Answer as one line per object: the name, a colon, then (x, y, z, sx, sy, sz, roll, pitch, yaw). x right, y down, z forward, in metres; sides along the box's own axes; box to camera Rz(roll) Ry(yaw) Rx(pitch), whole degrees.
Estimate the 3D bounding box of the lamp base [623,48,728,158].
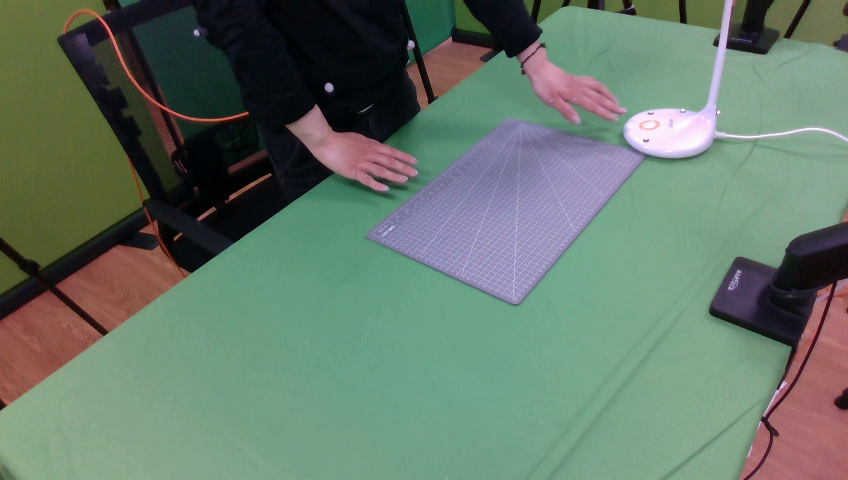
lamp base: (0.462, -0.261, 1.084, 0.179, 0.181, 0.160, 3, 42, 7)
